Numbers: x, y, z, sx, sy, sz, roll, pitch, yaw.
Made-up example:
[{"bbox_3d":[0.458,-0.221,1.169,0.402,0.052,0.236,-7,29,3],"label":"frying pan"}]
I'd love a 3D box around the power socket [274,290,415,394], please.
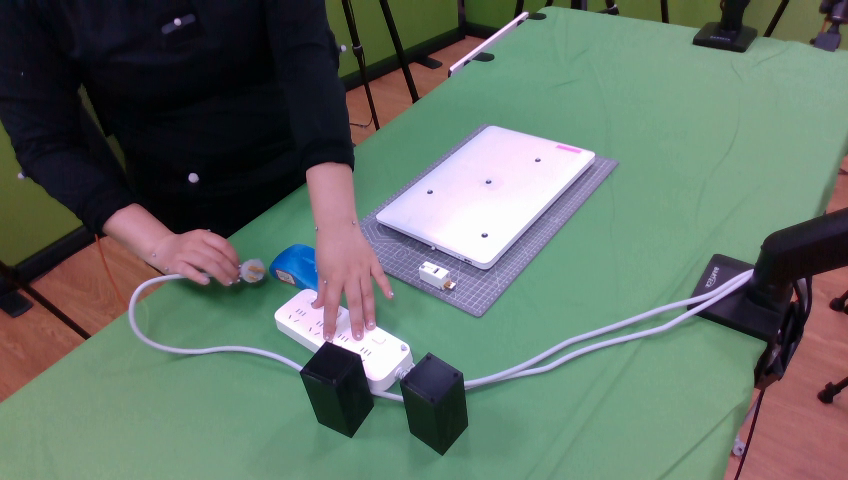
[{"bbox_3d":[-0.114,0.134,0.820,0.225,0.033,0.072,24,48,32],"label":"power socket"}]

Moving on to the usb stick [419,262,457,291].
[{"bbox_3d":[0.022,0.056,0.892,0.058,0.027,0.021,25,47,32],"label":"usb stick"}]

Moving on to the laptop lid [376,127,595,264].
[{"bbox_3d":[0.112,-0.096,1.051,0.239,0.013,0.358,24,49,35],"label":"laptop lid"}]

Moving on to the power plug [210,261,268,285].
[{"bbox_3d":[-0.269,0.057,0.893,0.052,0.035,0.073,16,36,33],"label":"power plug"}]

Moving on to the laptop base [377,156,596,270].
[{"bbox_3d":[0.115,-0.086,1.056,0.233,0.023,0.355,21,48,34],"label":"laptop base"}]

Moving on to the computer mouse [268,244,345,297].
[{"bbox_3d":[-0.182,0.044,0.932,0.116,0.041,0.063,23,46,24],"label":"computer mouse"}]
